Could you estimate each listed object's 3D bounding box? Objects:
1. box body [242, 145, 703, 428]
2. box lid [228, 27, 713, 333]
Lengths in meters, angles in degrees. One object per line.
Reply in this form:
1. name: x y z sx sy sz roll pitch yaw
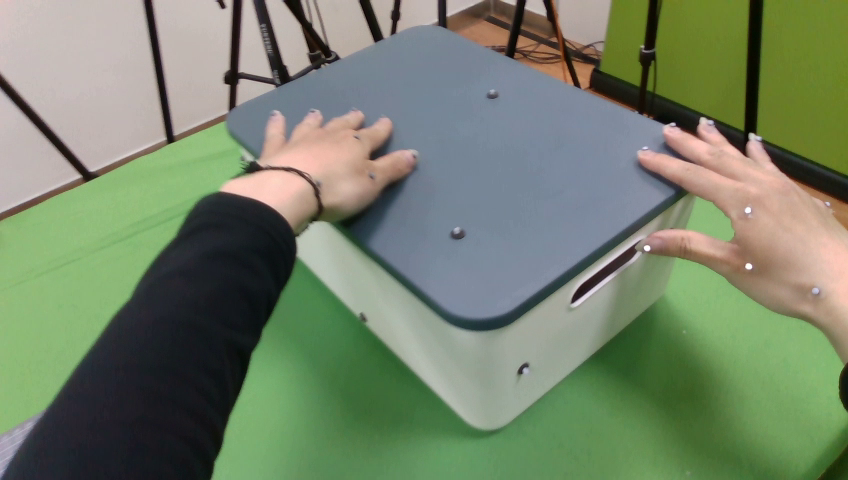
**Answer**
1. box body: 0.027 -0.034 0.570 0.254 0.162 0.360 -32 48 -24
2. box lid: 0.020 -0.087 0.518 0.263 0.015 0.367 -32 48 -24
